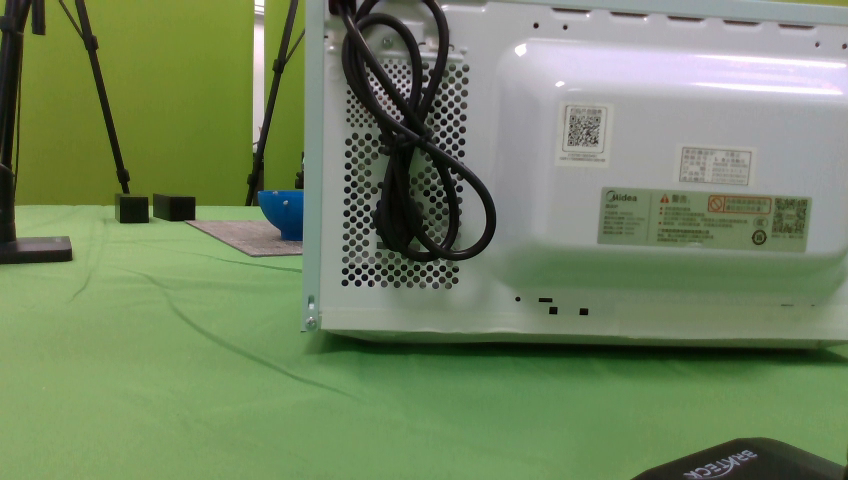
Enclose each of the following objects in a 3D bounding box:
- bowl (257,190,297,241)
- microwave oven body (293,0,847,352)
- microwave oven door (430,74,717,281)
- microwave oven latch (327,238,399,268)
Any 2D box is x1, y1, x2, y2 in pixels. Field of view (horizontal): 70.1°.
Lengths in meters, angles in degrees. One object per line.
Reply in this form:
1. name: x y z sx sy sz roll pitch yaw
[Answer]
1. bowl: -0.206 -0.041 1.027 0.151 0.077 0.151 3 8 0
2. microwave oven body: 0.122 -0.055 0.550 0.442 0.260 0.325 3 7 -5
3. microwave oven door: 0.177 -0.088 0.790 0.354 0.243 0.039 6 8 27
4. microwave oven latch: -0.069 0.015 0.694 0.079 0.029 0.030 3 7 -3
